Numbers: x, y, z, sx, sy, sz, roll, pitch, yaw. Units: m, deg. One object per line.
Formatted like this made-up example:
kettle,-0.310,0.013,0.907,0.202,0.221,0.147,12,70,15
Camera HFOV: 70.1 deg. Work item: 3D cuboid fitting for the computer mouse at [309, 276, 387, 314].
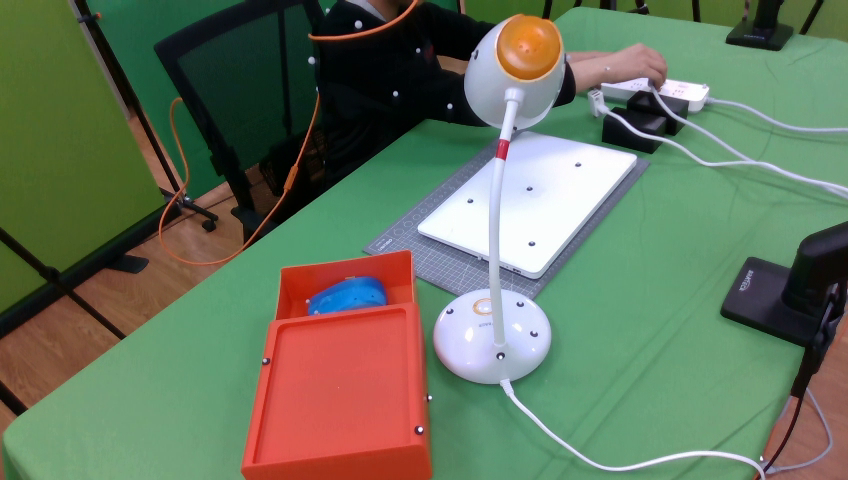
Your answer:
computer mouse,-0.112,0.089,0.881,0.117,0.041,0.062,-16,42,0

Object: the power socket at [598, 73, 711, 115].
power socket,0.469,-0.304,1.249,0.225,0.033,0.072,20,49,30

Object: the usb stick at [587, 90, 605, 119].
usb stick,0.334,-0.258,1.170,0.021,0.059,0.027,-28,44,-4

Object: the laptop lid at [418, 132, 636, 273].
laptop lid,0.181,-0.084,1.036,0.239,0.013,0.358,22,49,35

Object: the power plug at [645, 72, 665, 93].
power plug,0.453,-0.306,1.208,0.073,0.053,0.035,-42,43,-22

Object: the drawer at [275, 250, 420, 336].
drawer,-0.104,0.117,0.825,0.194,0.073,0.210,-8,40,1

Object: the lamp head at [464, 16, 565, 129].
lamp head,0.101,-0.184,0.655,0.112,0.112,0.123,-9,0,0

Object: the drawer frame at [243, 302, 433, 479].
drawer frame,-0.096,0.185,0.738,0.202,0.083,0.212,-8,40,1

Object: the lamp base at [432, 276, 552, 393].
lamp base,0.085,0.075,0.756,0.161,0.181,0.178,-14,44,-6

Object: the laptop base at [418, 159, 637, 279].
laptop base,0.185,-0.074,1.042,0.233,0.023,0.355,20,48,35

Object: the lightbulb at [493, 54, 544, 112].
lightbulb,0.109,-0.181,0.679,0.059,0.059,0.107,-10,-3,0
